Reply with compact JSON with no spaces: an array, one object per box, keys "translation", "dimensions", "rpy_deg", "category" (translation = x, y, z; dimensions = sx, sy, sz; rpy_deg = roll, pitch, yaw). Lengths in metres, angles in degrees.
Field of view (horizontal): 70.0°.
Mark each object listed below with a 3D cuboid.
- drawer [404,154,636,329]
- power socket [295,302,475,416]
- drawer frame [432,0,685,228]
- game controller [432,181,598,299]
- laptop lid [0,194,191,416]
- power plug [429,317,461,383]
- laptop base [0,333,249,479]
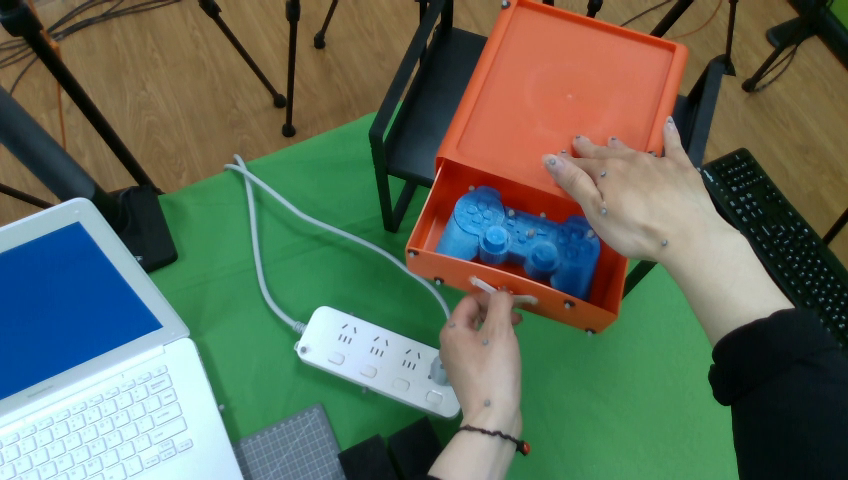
[{"translation":[0.107,-0.042,0.590],"dimensions":[0.194,0.074,0.210],"rpy_deg":[18,69,7],"category":"drawer"},{"translation":[-0.047,0.142,0.734],"dimensions":[0.226,0.033,0.072],"rpy_deg":[20,70,8],"category":"power socket"},{"translation":[0.137,-0.125,0.620],"dimensions":[0.201,0.083,0.212],"rpy_deg":[18,69,7],"category":"drawer frame"},{"translation":[0.091,0.001,0.583],"dimensions":[0.155,0.052,0.096],"rpy_deg":[19,67,7],"category":"game controller"},{"translation":[-0.465,0.104,0.640],"dimensions":[0.357,0.244,0.013],"rpy_deg":[-26,46,-9],"category":"laptop lid"},{"translation":[0.034,0.134,0.713],"dimensions":[0.035,0.053,0.072],"rpy_deg":[31,70,13],"category":"power plug"},{"translation":[-0.391,0.281,0.685],"dimensions":[0.354,0.023,0.234],"rpy_deg":[-25,73,-10],"category":"laptop base"}]
